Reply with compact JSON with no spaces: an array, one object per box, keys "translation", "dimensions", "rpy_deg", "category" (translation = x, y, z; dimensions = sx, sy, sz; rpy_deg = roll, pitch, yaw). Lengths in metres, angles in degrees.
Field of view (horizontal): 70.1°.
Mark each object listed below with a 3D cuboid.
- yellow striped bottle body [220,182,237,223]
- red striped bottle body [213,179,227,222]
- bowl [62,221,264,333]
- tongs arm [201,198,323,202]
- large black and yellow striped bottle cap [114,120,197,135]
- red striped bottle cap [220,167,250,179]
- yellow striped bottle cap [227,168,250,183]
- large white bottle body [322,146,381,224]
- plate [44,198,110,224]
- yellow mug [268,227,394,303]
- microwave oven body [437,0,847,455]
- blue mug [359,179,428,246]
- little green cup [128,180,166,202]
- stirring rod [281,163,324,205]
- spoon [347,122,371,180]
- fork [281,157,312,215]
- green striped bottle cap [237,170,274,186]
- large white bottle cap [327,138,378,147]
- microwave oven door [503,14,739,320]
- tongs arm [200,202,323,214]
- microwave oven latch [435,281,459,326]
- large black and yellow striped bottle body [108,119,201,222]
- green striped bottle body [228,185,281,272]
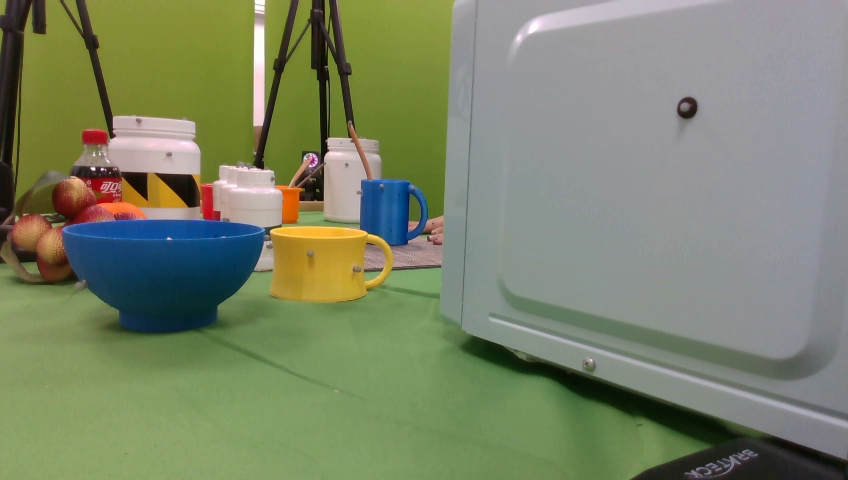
[{"translation":[-0.246,-0.036,0.825],"dimensions":[0.063,0.120,0.063],"rpy_deg":[3,8,0],"category":"yellow striped bottle body"},{"translation":[-0.284,-0.048,0.909],"dimensions":[0.063,0.119,0.063],"rpy_deg":[3,10,0],"category":"red striped bottle body"},{"translation":[-0.209,0.029,0.496],"dimensions":[0.151,0.077,0.151],"rpy_deg":[2,7,0],"category":"bowl"},{"translation":[-0.432,-0.090,1.507],"dimensions":[0.390,0.028,0.028],"rpy_deg":[-1,2,-30],"category":"tongs arm"},{"translation":[-0.407,-0.171,0.920],"dimensions":[0.115,0.019,0.115],"rpy_deg":[2,9,0],"category":"large black and yellow striped bottle cap"},{"translation":[-0.281,-0.100,0.901],"dimensions":[0.044,0.017,0.044],"rpy_deg":[0,5,0],"category":"red striped bottle cap"},{"translation":[-0.243,-0.087,0.818],"dimensions":[0.044,0.018,0.044],"rpy_deg":[4,6,0],"category":"yellow striped bottle cap"},{"translation":[-0.163,-0.135,1.368],"dimensions":[0.131,0.184,0.130],"rpy_deg":[2,7,0],"category":"large white bottle body"},{"translation":[-0.617,-0.056,1.179],"dimensions":[0.209,0.038,0.209],"rpy_deg":[3,7,0],"category":"plate"},{"translation":[-0.094,0.023,0.629],"dimensions":[0.131,0.064,0.099],"rpy_deg":[0,7,-22],"category":"yellow mug"},{"translation":[0.279,-0.040,0.464],"dimensions":[0.444,0.260,0.324],"rpy_deg":[-3,8,-41],"category":"microwave oven body"},{"translation":[-0.051,-0.046,1.003],"dimensions":[0.116,0.106,0.082],"rpy_deg":[4,8,12],"category":"blue mug"},{"translation":[-0.485,-0.087,1.062],"dimensions":[0.061,0.038,0.061],"rpy_deg":[-1,6,0],"category":"little green cup"},{"translation":[-0.278,-0.105,1.293],"dimensions":[0.176,0.006,0.014],"rpy_deg":[-47,24,-18],"category":"stirring rod"},{"translation":[-0.097,-0.107,1.016],"dimensions":[0.021,0.193,0.041],"rpy_deg":[-15,-3,0],"category":"spoon"},{"translation":[-0.290,-0.116,1.321],"dimensions":[0.028,0.019,0.207],"rpy_deg":[6,52,19],"category":"fork"},{"translation":[-0.205,-0.075,0.737],"dimensions":[0.044,0.020,0.044],"rpy_deg":[1,6,0],"category":"green striped bottle cap"},{"translation":[-0.160,-0.218,1.357],"dimensions":[0.115,0.018,0.115],"rpy_deg":[2,8,0],"category":"large white bottle cap"},{"translation":[0.217,-0.065,0.600],"dimensions":[0.358,0.243,0.039],"rpy_deg":[-4,10,-41],"category":"microwave oven door"},{"translation":[-0.378,-0.079,1.440],"dimensions":[0.387,0.026,0.050],"rpy_deg":[-4,8,-44],"category":"tongs arm"},{"translation":[0.044,0.046,0.470],"dimensions":[0.079,0.029,0.030],"rpy_deg":[-3,8,-40],"category":"microwave oven latch"},{"translation":[-0.412,-0.088,0.930],"dimensions":[0.131,0.184,0.130],"rpy_deg":[3,7,0],"category":"large black and yellow striped bottle body"},{"translation":[-0.208,-0.023,0.745],"dimensions":[0.063,0.119,0.063],"rpy_deg":[2,7,0],"category":"green striped bottle body"}]
